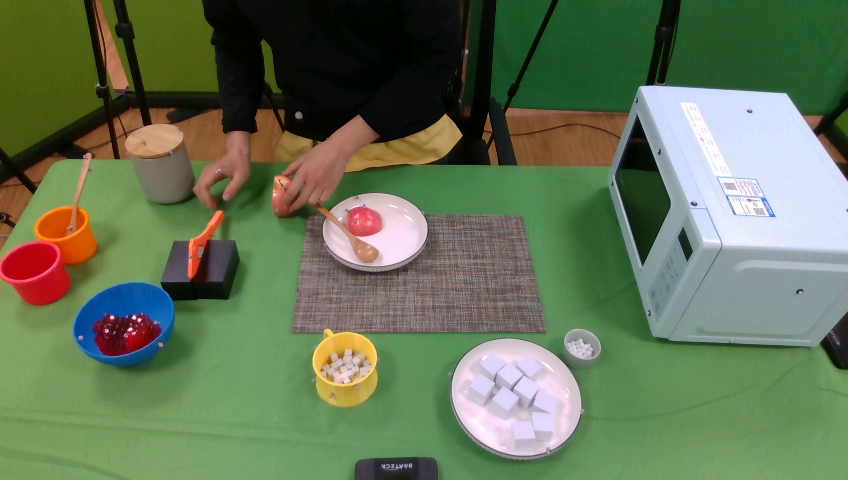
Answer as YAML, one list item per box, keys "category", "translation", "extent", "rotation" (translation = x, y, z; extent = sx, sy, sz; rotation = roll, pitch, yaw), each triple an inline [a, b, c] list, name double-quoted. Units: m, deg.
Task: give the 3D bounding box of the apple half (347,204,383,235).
- category: "apple half"
  translation: [-0.118, -0.049, 1.207]
  extent: [0.081, 0.033, 0.081]
  rotation: [2, 49, -2]

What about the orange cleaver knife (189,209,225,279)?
- category: "orange cleaver knife"
  translation: [-0.401, 0.002, 1.122]
  extent: [0.012, 0.077, 0.210]
  rotation: [4, 23, -4]

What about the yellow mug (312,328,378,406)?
- category: "yellow mug"
  translation: [-0.132, 0.193, 0.971]
  extent: [0.100, 0.064, 0.130]
  rotation: [-22, 51, -22]

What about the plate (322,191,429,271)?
- category: "plate"
  translation: [-0.094, -0.015, 1.185]
  extent: [0.209, 0.038, 0.208]
  rotation: [2, 46, -2]

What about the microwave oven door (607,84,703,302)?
- category: "microwave oven door"
  translation: [0.423, -0.096, 1.137]
  extent: [0.039, 0.245, 0.353]
  rotation: [2, 46, -1]

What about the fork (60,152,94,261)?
- category: "fork"
  translation: [-0.638, -0.063, 1.119]
  extent: [0.028, 0.018, 0.207]
  rotation: [12, 90, 9]

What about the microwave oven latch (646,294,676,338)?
- category: "microwave oven latch"
  translation: [0.412, 0.133, 1.061]
  extent: [0.030, 0.029, 0.078]
  rotation: [3, 46, 1]

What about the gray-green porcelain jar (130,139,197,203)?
- category: "gray-green porcelain jar"
  translation: [-0.522, -0.147, 1.225]
  extent: [0.106, 0.127, 0.105]
  rotation: [2, 47, -2]

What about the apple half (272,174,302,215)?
- category: "apple half"
  translation: [-0.275, -0.090, 1.225]
  extent: [0.053, 0.075, 0.080]
  rotation: [2, 42, -6]

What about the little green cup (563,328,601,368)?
- category: "little green cup"
  translation: [0.265, 0.185, 1.025]
  extent: [0.061, 0.039, 0.061]
  rotation: [1, 45, -1]

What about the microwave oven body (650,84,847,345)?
- category: "microwave oven body"
  translation: [0.569, -0.054, 1.116]
  extent: [0.326, 0.261, 0.439]
  rotation: [2, 46, -1]

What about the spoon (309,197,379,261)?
- category: "spoon"
  translation: [-0.158, -0.025, 1.172]
  extent: [0.041, 0.022, 0.193]
  rotation: [-41, 73, -18]

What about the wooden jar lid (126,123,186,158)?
- category: "wooden jar lid"
  translation: [-0.519, -0.190, 1.179]
  extent: [0.108, 0.021, 0.107]
  rotation: [2, 44, -2]

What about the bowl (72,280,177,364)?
- category: "bowl"
  translation: [-0.473, 0.147, 0.982]
  extent: [0.151, 0.077, 0.150]
  rotation: [2, 46, -2]

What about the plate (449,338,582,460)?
- category: "plate"
  translation: [0.141, 0.251, 0.956]
  extent: [0.208, 0.039, 0.206]
  rotation: [2, 46, -2]
